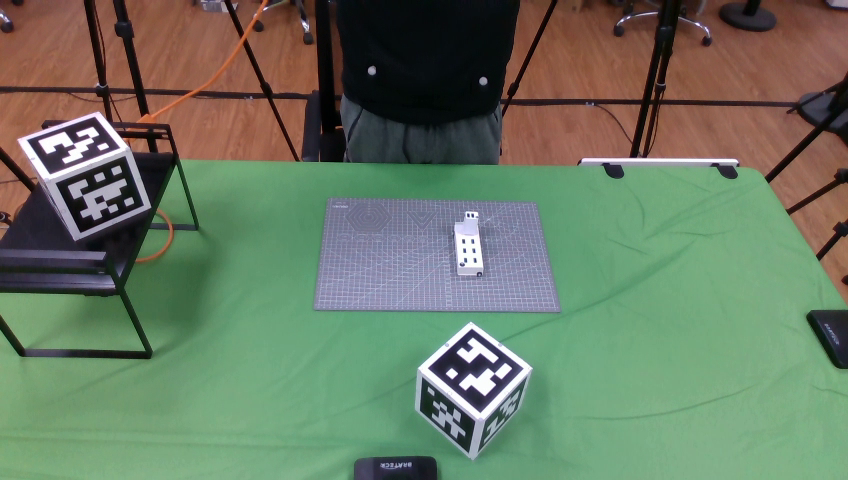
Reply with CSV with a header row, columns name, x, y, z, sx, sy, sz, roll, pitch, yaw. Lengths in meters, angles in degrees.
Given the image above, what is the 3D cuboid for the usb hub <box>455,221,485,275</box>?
name,x,y,z,sx,sy,sz,roll,pitch,yaw
usb hub,0.088,0.014,1.178,0.049,0.025,0.124,0,46,-3

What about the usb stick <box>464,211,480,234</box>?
name,x,y,z,sx,sy,sz,roll,pitch,yaw
usb stick,0.093,-0.029,1.180,0.027,0.059,0.021,-3,47,-2
